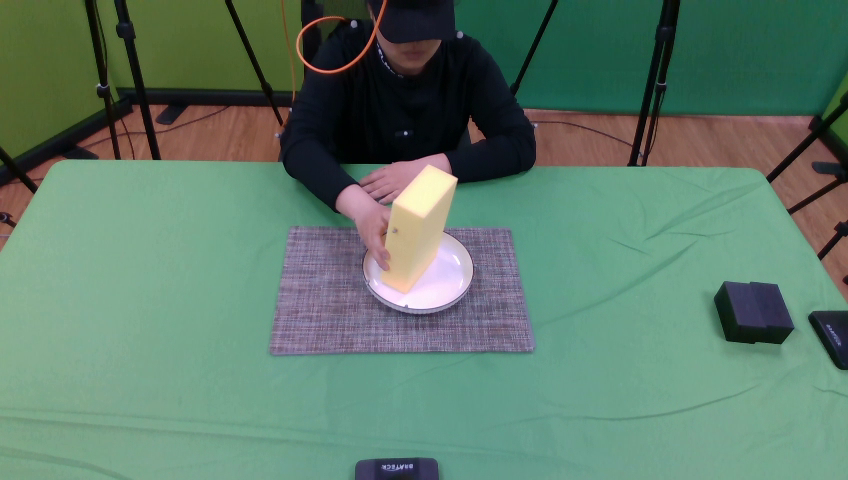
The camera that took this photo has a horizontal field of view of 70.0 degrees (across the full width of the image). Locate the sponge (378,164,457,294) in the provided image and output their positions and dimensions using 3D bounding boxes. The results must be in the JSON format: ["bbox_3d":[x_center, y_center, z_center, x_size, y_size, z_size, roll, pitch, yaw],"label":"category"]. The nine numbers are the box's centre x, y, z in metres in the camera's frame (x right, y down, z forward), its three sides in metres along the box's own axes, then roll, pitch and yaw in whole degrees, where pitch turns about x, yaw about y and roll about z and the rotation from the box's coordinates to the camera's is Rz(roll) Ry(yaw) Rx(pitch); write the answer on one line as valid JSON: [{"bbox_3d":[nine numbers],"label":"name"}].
[{"bbox_3d":[-0.014,-0.016,1.064,0.061,0.208,0.118,28,49,12],"label":"sponge"}]

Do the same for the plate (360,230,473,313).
[{"bbox_3d":[-0.014,0.057,1.126,0.208,0.039,0.206,2,46,-2],"label":"plate"}]
